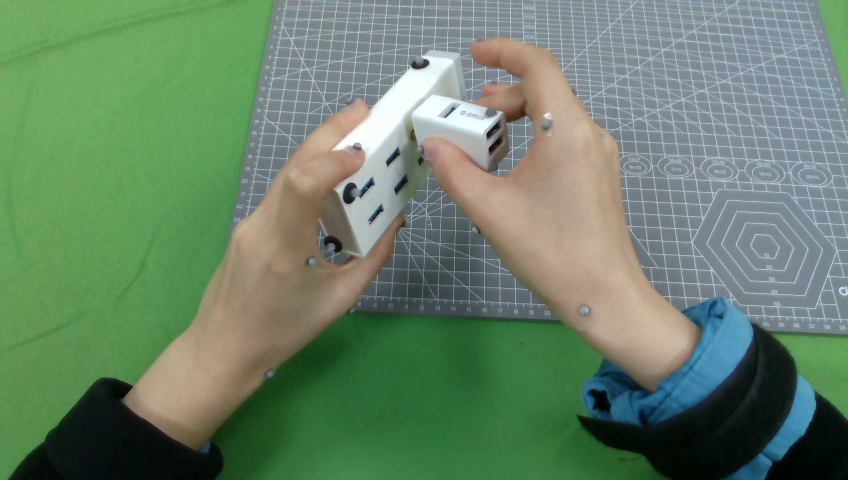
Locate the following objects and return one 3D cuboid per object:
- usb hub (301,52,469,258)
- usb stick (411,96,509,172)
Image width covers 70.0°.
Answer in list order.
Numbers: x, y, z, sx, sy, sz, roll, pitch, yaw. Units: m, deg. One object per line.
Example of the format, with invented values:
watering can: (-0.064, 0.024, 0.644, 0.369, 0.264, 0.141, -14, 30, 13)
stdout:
usb hub: (-0.014, -0.051, 0.331, 0.025, 0.050, 0.124, 15, 52, 29)
usb stick: (0.013, -0.055, 0.306, 0.058, 0.027, 0.021, 20, 51, 37)
